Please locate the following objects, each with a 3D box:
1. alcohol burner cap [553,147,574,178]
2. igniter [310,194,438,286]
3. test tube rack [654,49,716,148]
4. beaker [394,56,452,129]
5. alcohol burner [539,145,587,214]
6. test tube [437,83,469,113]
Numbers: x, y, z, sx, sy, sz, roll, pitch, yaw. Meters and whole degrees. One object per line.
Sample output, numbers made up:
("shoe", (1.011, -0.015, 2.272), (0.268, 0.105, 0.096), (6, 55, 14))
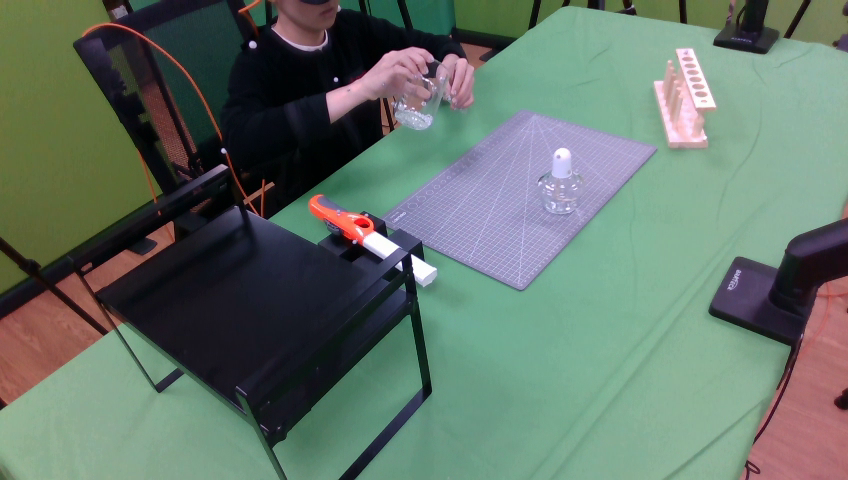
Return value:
("alcohol burner cap", (0.224, -0.125, 0.965), (0.034, 0.048, 0.033), (-5, 44, 5))
("igniter", (-0.087, -0.007, 0.921), (0.274, 0.025, 0.057), (31, 50, 34))
("test tube rack", (0.502, -0.281, 1.176), (0.066, 0.085, 0.241), (2, 41, 11))
("beaker", (-0.003, -0.243, 1.013), (0.073, 0.084, 0.100), (13, 76, 25))
("alcohol burner", (0.226, -0.102, 0.986), (0.078, 0.119, 0.077), (-6, 41, 6))
("test tube", (0.057, -0.262, 1.128), (0.017, 0.017, 0.151), (13, 0, 22))
